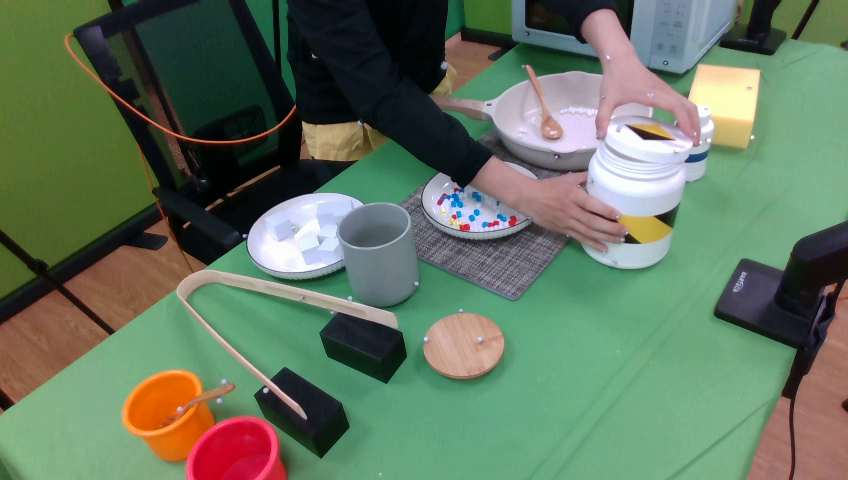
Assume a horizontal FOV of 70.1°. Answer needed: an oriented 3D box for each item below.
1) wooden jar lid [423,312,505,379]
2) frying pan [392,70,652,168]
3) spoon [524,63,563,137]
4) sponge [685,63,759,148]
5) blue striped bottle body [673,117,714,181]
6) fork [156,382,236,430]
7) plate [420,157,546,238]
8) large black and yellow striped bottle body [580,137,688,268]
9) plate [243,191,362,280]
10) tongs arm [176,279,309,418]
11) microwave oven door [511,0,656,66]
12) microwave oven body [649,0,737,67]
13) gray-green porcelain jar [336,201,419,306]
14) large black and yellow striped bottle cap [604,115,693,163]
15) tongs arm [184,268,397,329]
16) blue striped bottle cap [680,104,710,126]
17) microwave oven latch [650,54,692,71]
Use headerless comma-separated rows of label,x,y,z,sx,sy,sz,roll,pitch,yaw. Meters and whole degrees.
wooden jar lid,0.053,0.142,0.800,0.108,0.021,0.108,-5,39,4
frying pan,0.176,-0.248,1.165,0.487,0.103,0.306,12,42,9
spoon,0.234,-0.281,1.203,0.041,0.022,0.192,-13,68,-1
sponge,0.569,-0.263,1.164,0.117,0.061,0.207,12,45,22
blue striped bottle body,0.449,-0.165,1.022,0.063,0.121,0.063,-5,41,4
fork,-0.262,0.189,0.690,0.018,0.206,0.028,49,43,-7
plate,0.100,-0.068,1.017,0.209,0.038,0.208,-4,40,4
large black and yellow striped bottle body,0.302,-0.065,0.875,0.131,0.185,0.130,-2,41,2
plate,-0.188,-0.005,0.992,0.207,0.039,0.206,-4,41,4
tongs arm,-0.254,0.132,0.801,0.028,0.028,0.384,-41,40,-23
microwave oven door,0.351,-0.540,1.349,0.353,0.245,0.039,24,50,31
microwave oven body,0.475,-0.602,1.411,0.438,0.261,0.327,23,50,32
gray-green porcelain jar,-0.064,0.024,0.872,0.106,0.127,0.105,-4,41,4
large black and yellow striped bottle cap,0.303,-0.138,0.817,0.115,0.019,0.114,6,35,-4
tongs arm,-0.202,0.084,0.848,0.382,0.027,0.051,11,45,35
blue striped bottle cap,0.443,-0.205,0.989,0.044,0.021,0.044,-1,41,2
microwave oven latch,0.530,-0.386,1.301,0.078,0.029,0.030,24,50,32
